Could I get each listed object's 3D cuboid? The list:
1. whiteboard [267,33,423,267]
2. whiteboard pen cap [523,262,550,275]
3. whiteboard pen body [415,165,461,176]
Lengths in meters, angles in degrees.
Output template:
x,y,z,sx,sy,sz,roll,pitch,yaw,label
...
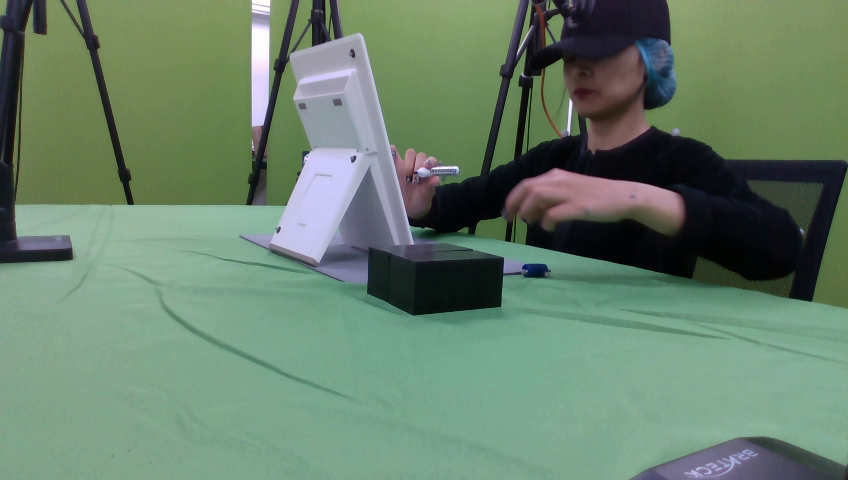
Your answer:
x,y,z,sx,sy,sz,roll,pitch,yaw,label
-0.153,-0.098,0.819,0.144,0.305,0.216,-25,21,-29,whiteboard
0.145,0.037,0.776,0.033,0.018,0.018,1,6,-29,whiteboard pen cap
0.022,-0.109,0.953,0.017,0.017,0.141,6,10,29,whiteboard pen body
